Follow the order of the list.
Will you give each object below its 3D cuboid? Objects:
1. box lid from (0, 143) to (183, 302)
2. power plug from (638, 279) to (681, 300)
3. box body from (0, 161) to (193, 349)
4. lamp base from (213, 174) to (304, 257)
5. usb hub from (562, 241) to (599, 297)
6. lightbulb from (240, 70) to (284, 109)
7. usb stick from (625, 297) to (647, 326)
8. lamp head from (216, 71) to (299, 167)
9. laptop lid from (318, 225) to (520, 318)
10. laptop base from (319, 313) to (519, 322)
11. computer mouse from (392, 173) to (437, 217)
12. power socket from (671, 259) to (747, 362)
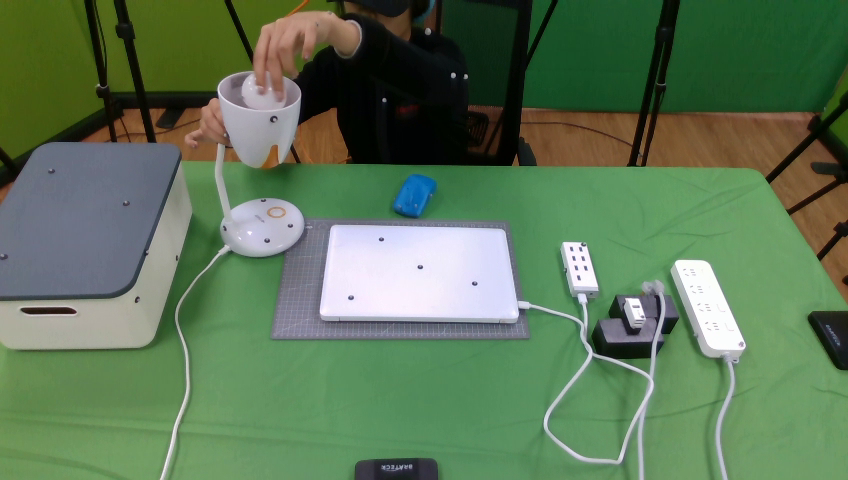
[{"bbox_3d":[-0.567,-0.045,0.999,0.263,0.015,0.369,-1,46,-4],"label":"box lid"},{"bbox_3d":[0.434,0.099,1.119,0.073,0.053,0.035,34,38,-16],"label":"power plug"},{"bbox_3d":[-0.570,0.006,1.054,0.254,0.161,0.361,-1,46,-4],"label":"box body"},{"bbox_3d":[-0.324,-0.074,1.135,0.160,0.181,0.179,28,53,23],"label":"lamp base"},{"bbox_3d":[0.300,0.055,1.162,0.049,0.025,0.124,2,46,-3],"label":"usb hub"},{"bbox_3d":[-0.228,-0.187,0.856,0.059,0.108,0.059,8,40,-6],"label":"lightbulb"},{"bbox_3d":[0.360,0.116,1.034,0.021,0.027,0.059,-2,44,-2],"label":"usb stick"},{"bbox_3d":[-0.240,-0.169,0.876,0.112,0.123,0.111,9,45,-8],"label":"lamp head"},{"bbox_3d":[-0.009,0.052,1.131,0.357,0.013,0.240,2,43,-2],"label":"laptop lid"},{"bbox_3d":[-0.009,0.062,1.138,0.354,0.023,0.234,1,42,-3],"label":"laptop base"},{"bbox_3d":[-0.018,-0.098,1.282,0.062,0.041,0.117,20,51,13],"label":"computer mouse"},{"bbox_3d":[0.516,0.119,1.108,0.072,0.033,0.225,1,46,-2],"label":"power socket"}]
